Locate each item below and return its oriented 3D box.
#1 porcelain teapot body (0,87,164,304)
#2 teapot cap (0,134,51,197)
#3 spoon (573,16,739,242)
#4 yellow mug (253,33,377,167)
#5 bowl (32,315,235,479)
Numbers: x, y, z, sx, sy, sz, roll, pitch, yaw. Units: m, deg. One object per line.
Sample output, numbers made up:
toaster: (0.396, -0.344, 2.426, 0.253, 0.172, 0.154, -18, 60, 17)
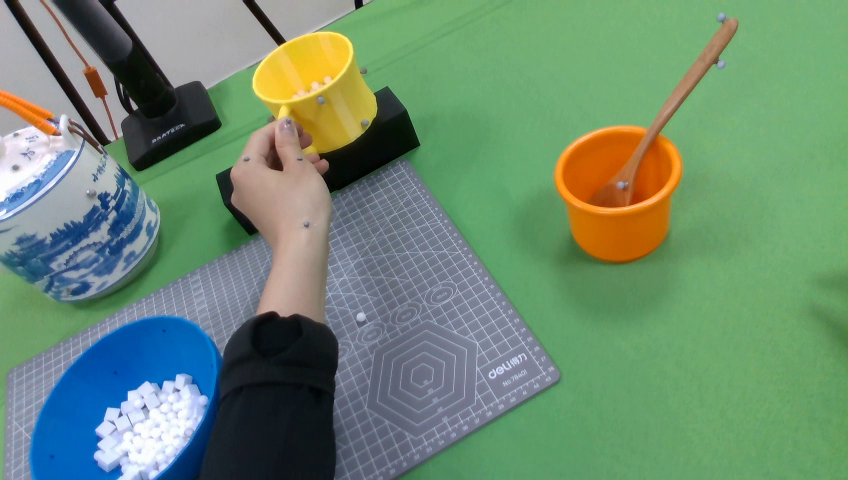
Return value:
porcelain teapot body: (-0.398, -0.035, 0.584, 0.205, 0.228, 0.143, -25, 50, 0)
teapot cap: (-0.384, -0.069, 0.554, 0.085, 0.044, 0.084, -11, 52, 15)
spoon: (0.174, -0.078, 0.462, 0.022, 0.194, 0.041, 4, 36, -35)
yellow mug: (-0.106, -0.126, 0.568, 0.099, 0.064, 0.130, 0, 55, 20)
bowl: (-0.205, 0.141, 0.467, 0.151, 0.077, 0.150, -10, 50, 12)
